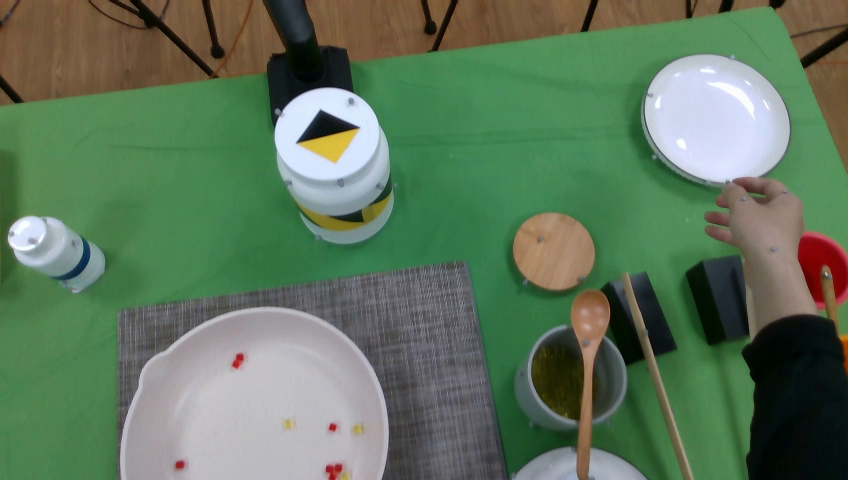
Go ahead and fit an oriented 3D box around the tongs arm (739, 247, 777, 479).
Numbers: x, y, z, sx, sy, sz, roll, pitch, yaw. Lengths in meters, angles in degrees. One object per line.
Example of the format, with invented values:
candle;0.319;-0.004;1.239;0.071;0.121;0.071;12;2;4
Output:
tongs arm;0.385;0.201;0.703;0.028;0.028;0.386;2;81;-6

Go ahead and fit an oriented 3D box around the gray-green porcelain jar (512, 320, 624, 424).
gray-green porcelain jar;0.159;0.156;0.698;0.106;0.127;0.105;0;71;0

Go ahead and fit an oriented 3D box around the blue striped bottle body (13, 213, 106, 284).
blue striped bottle body;-0.449;0.008;0.740;0.063;0.121;0.062;0;70;0

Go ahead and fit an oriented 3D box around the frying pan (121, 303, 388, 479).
frying pan;-0.240;0.297;0.651;0.306;0.103;0.486;31;65;10

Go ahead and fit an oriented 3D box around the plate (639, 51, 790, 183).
plate;0.407;-0.172;0.861;0.209;0.038;0.207;0;71;0

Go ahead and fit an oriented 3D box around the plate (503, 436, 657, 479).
plate;0.177;0.330;0.686;0.208;0.039;0.206;0;71;0

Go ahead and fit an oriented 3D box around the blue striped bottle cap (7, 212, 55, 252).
blue striped bottle cap;-0.450;-0.010;0.693;0.044;0.021;0.044;0;73;-1

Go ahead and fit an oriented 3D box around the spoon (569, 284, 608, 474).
spoon;0.167;0.142;0.630;0.041;0.022;0.192;8;75;-2

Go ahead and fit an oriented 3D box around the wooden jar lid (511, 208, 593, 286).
wooden jar lid;0.169;0.011;0.805;0.108;0.021;0.107;0;72;-1

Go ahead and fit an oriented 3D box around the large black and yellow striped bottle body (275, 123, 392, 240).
large black and yellow striped bottle body;-0.108;-0.089;0.748;0.131;0.185;0.130;0;70;-1

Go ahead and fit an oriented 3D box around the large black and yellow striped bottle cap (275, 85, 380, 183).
large black and yellow striped bottle cap;-0.106;-0.119;0.669;0.115;0.019;0.114;0;72;-1

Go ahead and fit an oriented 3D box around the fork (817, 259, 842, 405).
fork;0.472;0.111;0.707;0.028;0.018;0.209;-21;117;1

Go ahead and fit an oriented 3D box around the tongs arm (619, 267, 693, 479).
tongs arm;0.303;0.212;0.699;0.051;0.026;0.383;-13;82;-5
